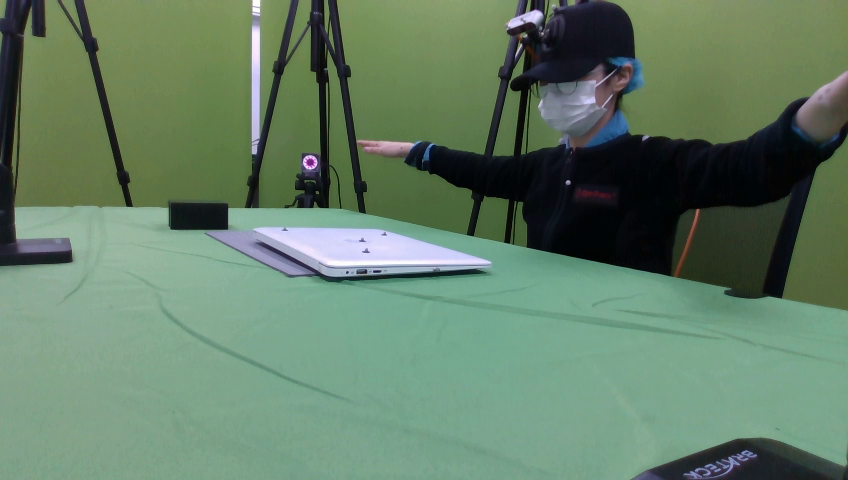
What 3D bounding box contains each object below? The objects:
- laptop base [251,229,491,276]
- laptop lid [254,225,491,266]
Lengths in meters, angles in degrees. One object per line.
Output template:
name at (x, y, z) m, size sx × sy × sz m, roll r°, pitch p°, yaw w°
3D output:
laptop base at (-0.095, 0.015, 0.888) m, size 0.237 × 0.023 × 0.352 m, roll 2°, pitch 7°, yaw -30°
laptop lid at (-0.093, 0.003, 0.888) m, size 0.243 × 0.013 × 0.355 m, roll 1°, pitch 8°, yaw -28°
